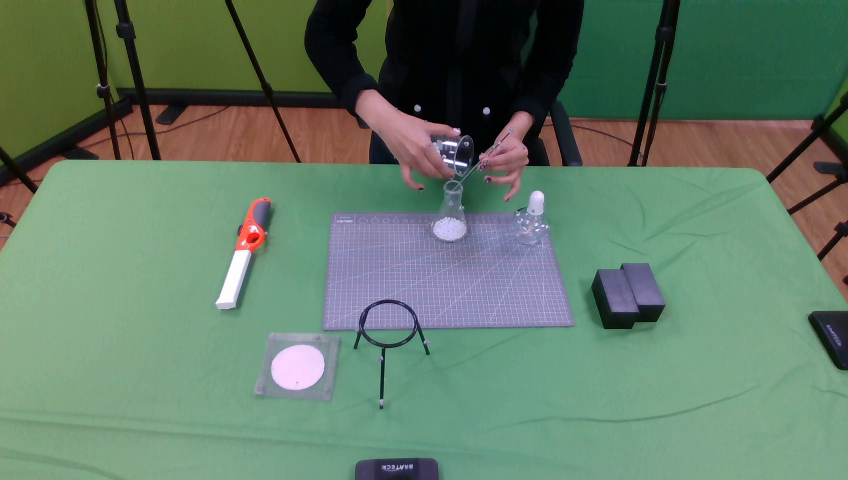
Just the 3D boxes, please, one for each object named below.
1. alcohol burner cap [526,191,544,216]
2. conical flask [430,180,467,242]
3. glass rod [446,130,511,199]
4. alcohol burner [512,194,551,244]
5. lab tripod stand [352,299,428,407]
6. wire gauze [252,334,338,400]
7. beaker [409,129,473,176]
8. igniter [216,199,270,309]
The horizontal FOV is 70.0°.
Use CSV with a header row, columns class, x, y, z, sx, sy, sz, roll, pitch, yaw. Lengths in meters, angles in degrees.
class,x,y,z,sx,sy,sz,roll,pitch,yaw
alcohol burner cap,0.216,-0.073,1.170,0.034,0.048,0.033,0,42,1
conical flask,0.052,-0.060,1.188,0.075,0.122,0.075,2,46,-2
glass rod,0.096,-0.133,1.103,0.008,0.200,0.008,21,46,-24
alcohol burner,0.215,-0.048,1.196,0.078,0.119,0.077,4,46,-4
lab tripod stand,-0.056,0.166,0.958,0.148,0.132,0.147,3,44,-2
wire gauze,-0.209,0.204,0.996,0.125,0.011,0.120,3,45,1
beaker,0.031,-0.162,1.117,0.100,0.084,0.074,16,42,28
igniter,-0.342,0.016,1.153,0.057,0.025,0.275,-3,45,7
